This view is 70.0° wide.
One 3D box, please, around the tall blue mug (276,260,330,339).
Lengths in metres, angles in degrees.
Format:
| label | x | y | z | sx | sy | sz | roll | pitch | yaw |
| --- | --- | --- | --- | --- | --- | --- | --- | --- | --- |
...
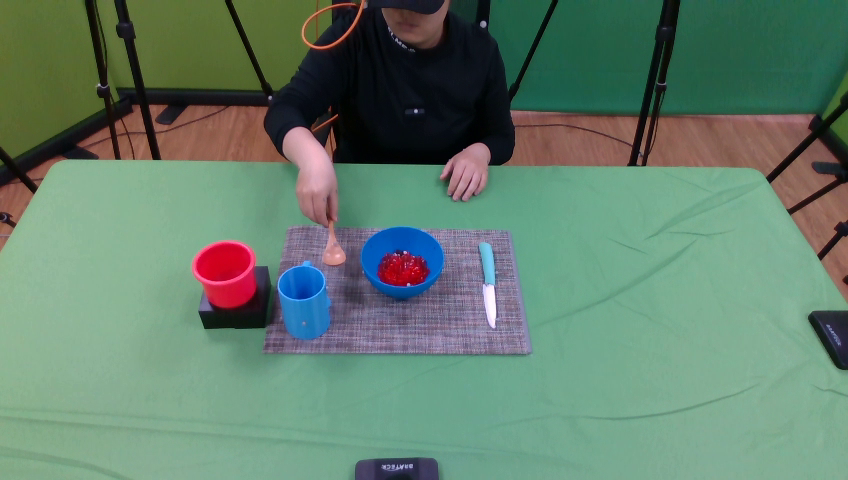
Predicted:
| label | x | y | z | sx | sy | sz | roll | pitch | yaw |
| --- | --- | --- | --- | --- | --- | --- | --- | --- | --- |
| tall blue mug | -0.208 | 0.094 | 1.025 | 0.078 | 0.108 | 0.106 | -21 | 51 | -21 |

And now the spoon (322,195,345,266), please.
| label | x | y | z | sx | sy | sz | roll | pitch | yaw |
| --- | --- | --- | --- | --- | --- | --- | --- | --- | --- |
| spoon | -0.173 | -0.021 | 1.126 | 0.041 | 0.022 | 0.192 | -6 | 49 | -7 |

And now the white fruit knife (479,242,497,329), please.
| label | x | y | z | sx | sy | sz | roll | pitch | yaw |
| --- | --- | --- | --- | --- | --- | --- | --- | --- | --- |
| white fruit knife | 0.122 | 0.080 | 1.130 | 0.027 | 0.016 | 0.206 | -19 | 45 | 19 |

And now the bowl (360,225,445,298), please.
| label | x | y | z | sx | sy | sz | roll | pitch | yaw |
| --- | --- | --- | --- | --- | --- | --- | --- | --- | --- |
| bowl | -0.040 | 0.053 | 1.099 | 0.151 | 0.077 | 0.150 | 2 | 46 | -2 |
